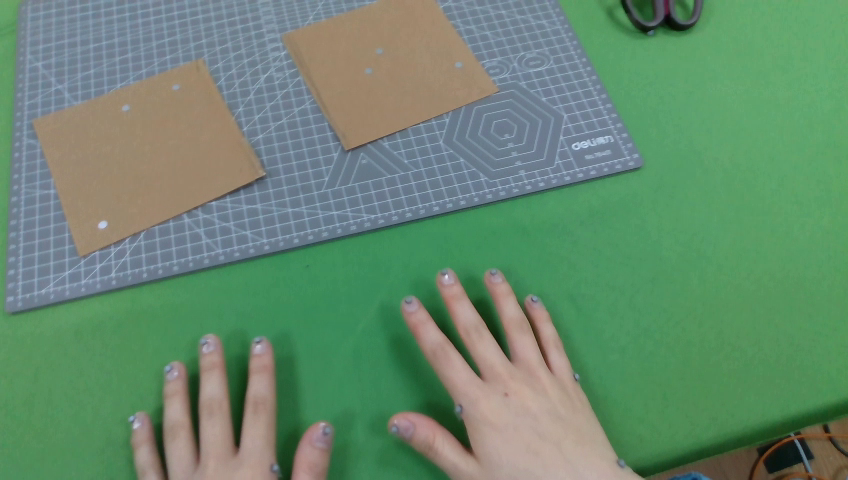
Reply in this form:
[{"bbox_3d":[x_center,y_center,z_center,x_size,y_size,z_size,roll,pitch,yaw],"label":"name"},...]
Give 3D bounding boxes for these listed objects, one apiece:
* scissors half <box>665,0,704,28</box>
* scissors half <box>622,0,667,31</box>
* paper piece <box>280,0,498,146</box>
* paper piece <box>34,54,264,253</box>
[{"bbox_3d":[0.207,-0.267,0.519,0.040,0.013,0.175,-14,87,-7],"label":"scissors half"},{"bbox_3d":[0.187,-0.265,0.517,0.040,0.013,0.174,4,84,-10],"label":"scissors half"},{"bbox_3d":[-0.030,-0.149,0.489,0.136,0.004,0.134,-24,66,-12],"label":"paper piece"},{"bbox_3d":[-0.205,-0.072,0.447,0.138,0.009,0.134,-27,61,-11],"label":"paper piece"}]
